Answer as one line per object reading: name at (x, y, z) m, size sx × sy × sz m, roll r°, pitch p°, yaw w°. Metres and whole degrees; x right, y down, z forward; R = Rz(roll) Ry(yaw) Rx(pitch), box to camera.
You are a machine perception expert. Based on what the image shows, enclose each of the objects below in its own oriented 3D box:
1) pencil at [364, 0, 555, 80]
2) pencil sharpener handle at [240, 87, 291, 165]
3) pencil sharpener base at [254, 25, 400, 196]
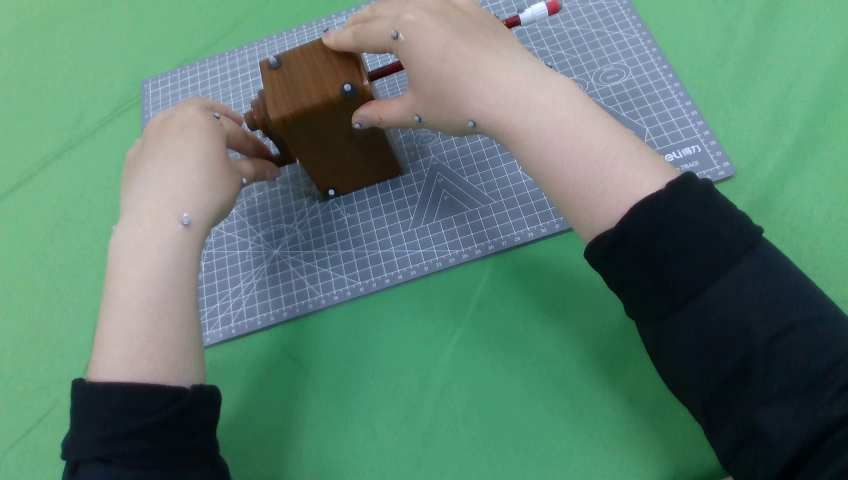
pencil at (0.000, -0.131, 0.424) m, size 0.194 × 0.012 × 0.012 m, roll -20°, pitch 61°, yaw 3°
pencil sharpener handle at (-0.121, -0.079, 0.443) m, size 0.030 × 0.068 × 0.035 m, roll -21°, pitch 62°, yaw 2°
pencil sharpener base at (-0.071, -0.091, 0.452) m, size 0.077 × 0.108 × 0.061 m, roll -21°, pitch 61°, yaw 2°
